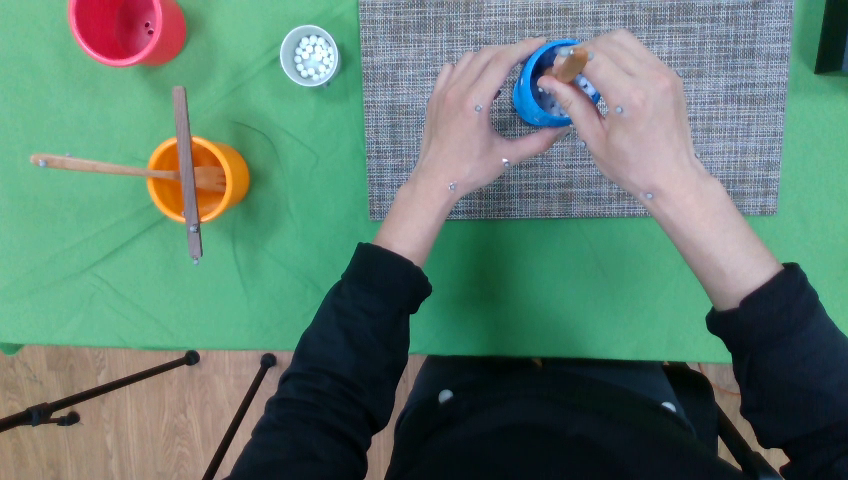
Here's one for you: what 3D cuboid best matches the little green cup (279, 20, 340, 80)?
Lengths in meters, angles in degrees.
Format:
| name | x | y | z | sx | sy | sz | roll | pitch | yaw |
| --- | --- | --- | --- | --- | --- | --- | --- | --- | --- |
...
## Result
| name | x | y | z | sx | sy | sz | roll | pitch | yaw |
| --- | --- | --- | --- | --- | --- | --- | --- | --- | --- |
| little green cup | -0.120 | -0.200 | 0.647 | 0.061 | 0.038 | 0.062 | 1 | 102 | 4 |

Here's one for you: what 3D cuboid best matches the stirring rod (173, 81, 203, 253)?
| name | x | y | z | sx | sy | sz | roll | pitch | yaw |
| --- | --- | --- | --- | --- | --- | --- | --- | --- | --- |
| stirring rod | -0.243 | -0.073 | 0.623 | 0.014 | 0.006 | 0.176 | -1 | 101 | 4 |

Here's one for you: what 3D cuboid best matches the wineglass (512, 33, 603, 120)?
| name | x | y | z | sx | sy | sz | roll | pitch | yaw |
| --- | --- | --- | --- | --- | --- | --- | --- | --- | --- |
| wineglass | 0.120 | -0.148 | 0.569 | 0.073 | 0.172 | 0.074 | 1 | 100 | 5 |

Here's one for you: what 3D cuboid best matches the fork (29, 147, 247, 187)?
| name | x | y | z | sx | sy | sz | roll | pitch | yaw |
| --- | --- | --- | --- | --- | --- | --- | --- | --- | --- |
| fork | -0.285 | -0.076 | 0.627 | 0.209 | 0.018 | 0.028 | 3 | 112 | -41 |

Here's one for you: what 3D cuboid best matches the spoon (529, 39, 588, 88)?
| name | x | y | z | sx | sy | sz | roll | pitch | yaw |
| --- | --- | --- | --- | --- | --- | --- | --- | --- | --- |
| spoon | 0.105 | -0.131 | 0.460 | 0.041 | 0.193 | 0.022 | 20 | 103 | 2 |
